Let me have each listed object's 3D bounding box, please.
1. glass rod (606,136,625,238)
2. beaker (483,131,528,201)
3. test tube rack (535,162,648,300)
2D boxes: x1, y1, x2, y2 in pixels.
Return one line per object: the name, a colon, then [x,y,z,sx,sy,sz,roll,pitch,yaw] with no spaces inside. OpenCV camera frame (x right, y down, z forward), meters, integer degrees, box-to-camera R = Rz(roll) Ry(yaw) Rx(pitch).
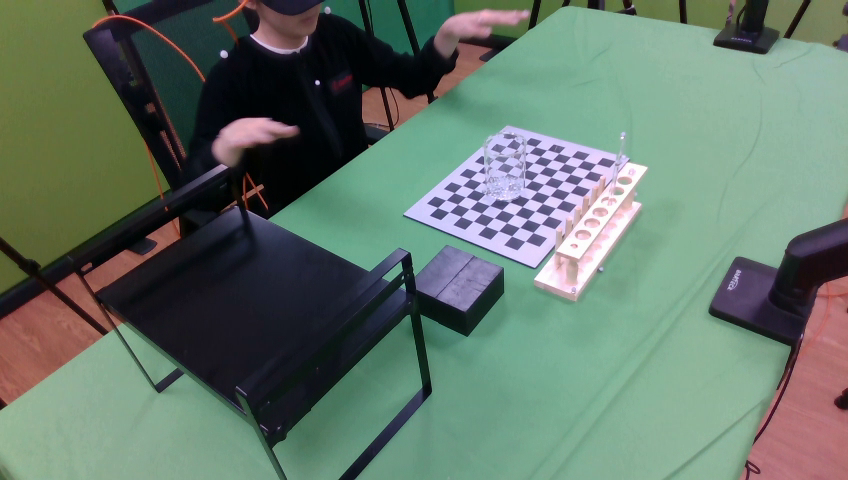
glass rod: [0.273,-0.069,0.864,0.008,0.201,0.008,-5,48,6]
beaker: [0.143,-0.126,1.036,0.073,0.101,0.084,24,49,31]
test tube rack: [0.257,-0.024,0.916,0.066,0.085,0.243,22,49,30]
